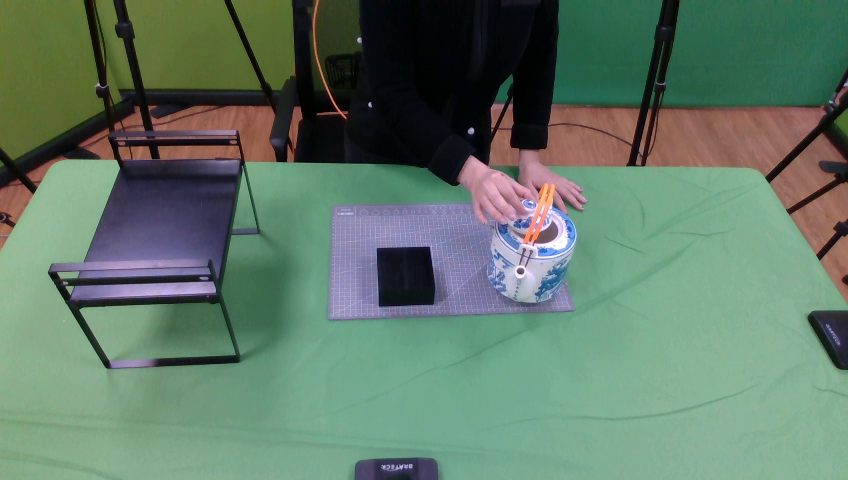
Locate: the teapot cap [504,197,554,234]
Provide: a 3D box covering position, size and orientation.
[{"bbox_3d":[0.178,-0.047,1.027,0.085,0.044,0.084,3,48,-3],"label":"teapot cap"}]

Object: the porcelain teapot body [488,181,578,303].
[{"bbox_3d":[0.186,0.018,1.048,0.145,0.226,0.204,15,48,10],"label":"porcelain teapot body"}]
